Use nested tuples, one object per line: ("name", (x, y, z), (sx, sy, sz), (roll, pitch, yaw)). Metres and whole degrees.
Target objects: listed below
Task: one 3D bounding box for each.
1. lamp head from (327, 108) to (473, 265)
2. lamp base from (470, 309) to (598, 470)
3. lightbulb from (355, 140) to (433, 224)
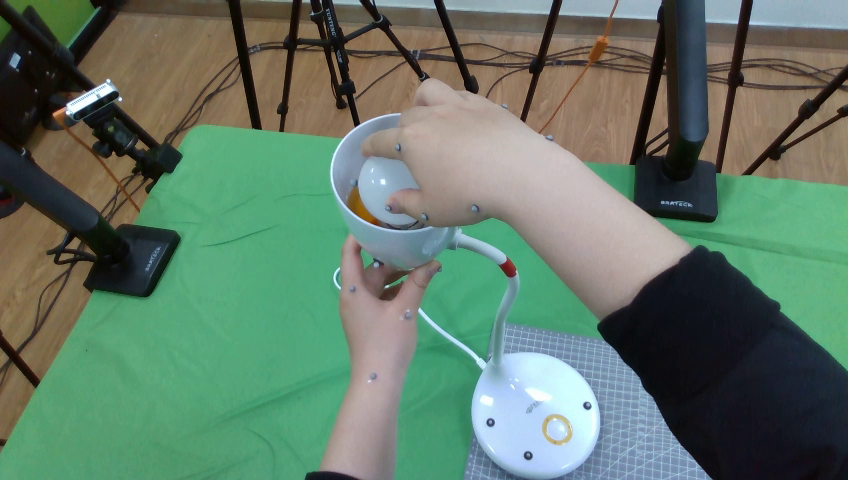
("lamp head", (-0.014, -0.030, 0.505), (0.112, 0.124, 0.111), (-2, 60, 4))
("lamp base", (0.120, 0.160, 0.710), (0.177, 0.182, 0.160), (32, 65, 28))
("lightbulb", (-0.022, -0.036, 0.479), (0.059, 0.108, 0.059), (0, 68, 0))
